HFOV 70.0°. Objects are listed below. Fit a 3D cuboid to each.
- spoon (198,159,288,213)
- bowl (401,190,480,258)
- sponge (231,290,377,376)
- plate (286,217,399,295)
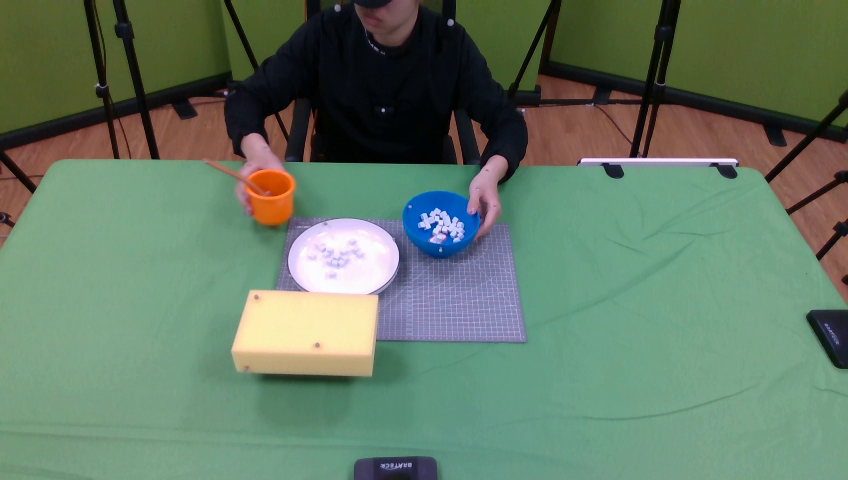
[{"bbox_3d":[-0.333,-0.101,1.130,0.021,0.195,0.041,-39,42,15],"label":"spoon"},{"bbox_3d":[0.029,-0.019,1.175,0.151,0.077,0.150,3,46,-2],"label":"bowl"},{"bbox_3d":[-0.180,0.144,0.949,0.207,0.061,0.117,2,46,-2],"label":"sponge"},{"bbox_3d":[-0.150,0.041,1.131,0.209,0.038,0.208,2,45,-2],"label":"plate"}]
